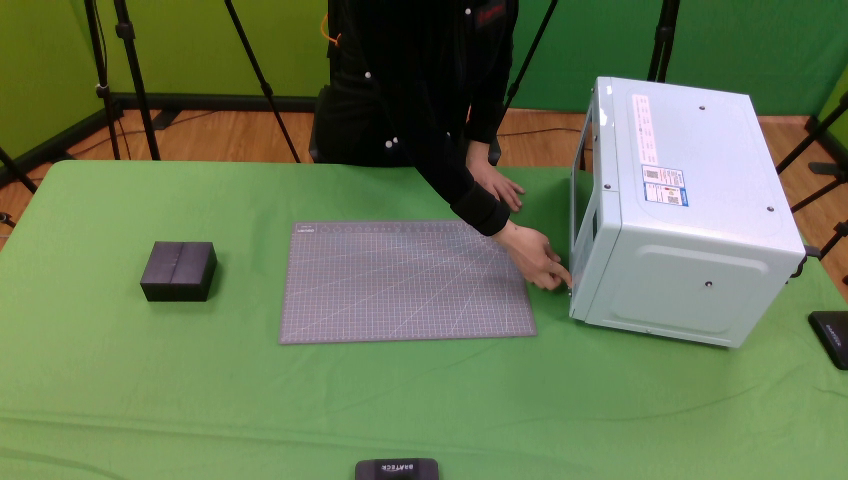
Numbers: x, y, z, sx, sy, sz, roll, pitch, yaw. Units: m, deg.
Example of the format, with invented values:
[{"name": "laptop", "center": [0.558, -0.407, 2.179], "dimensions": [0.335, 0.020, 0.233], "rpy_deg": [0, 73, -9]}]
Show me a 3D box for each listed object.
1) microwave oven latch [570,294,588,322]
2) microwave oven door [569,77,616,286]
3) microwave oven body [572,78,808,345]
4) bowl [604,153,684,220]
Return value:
[{"name": "microwave oven latch", "center": [0.278, 0.107, 1.081], "dimensions": [0.030, 0.029, 0.079], "rpy_deg": [13, 46, 9]}, {"name": "microwave oven door", "center": [0.319, -0.119, 1.161], "dimensions": [0.039, 0.245, 0.354], "rpy_deg": [9, 46, 5]}, {"name": "microwave oven body", "center": [0.456, -0.063, 1.124], "dimensions": [0.326, 0.261, 0.439], "rpy_deg": [8, 45, 5]}, {"name": "bowl", "center": [0.422, -0.093, 1.195], "dimensions": [0.151, 0.077, 0.150], "rpy_deg": [4, 48, -4]}]
